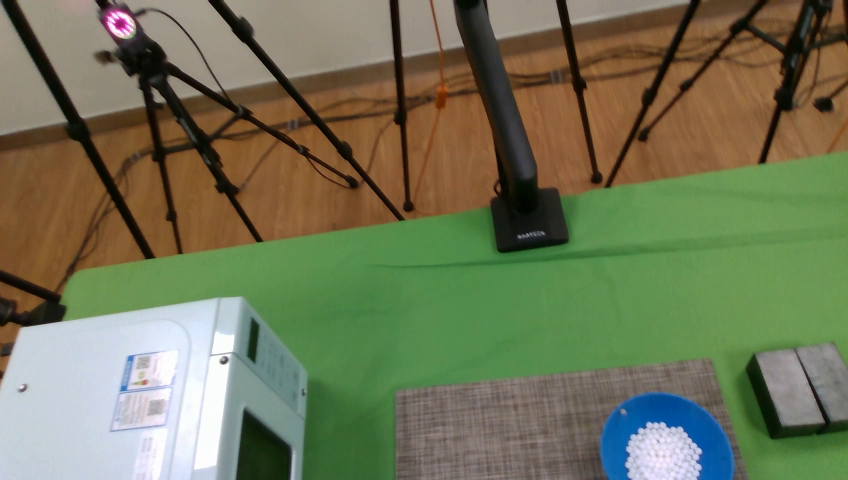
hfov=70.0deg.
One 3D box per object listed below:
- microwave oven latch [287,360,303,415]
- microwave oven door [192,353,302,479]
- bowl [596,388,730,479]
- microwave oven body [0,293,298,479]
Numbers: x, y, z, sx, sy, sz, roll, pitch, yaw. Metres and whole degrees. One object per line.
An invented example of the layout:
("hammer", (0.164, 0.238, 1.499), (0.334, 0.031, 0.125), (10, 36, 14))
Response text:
("microwave oven latch", (-0.195, 0.218, 0.895), (0.030, 0.030, 0.078), (-9, 55, 6))
("microwave oven door", (-0.202, 0.338, 0.687), (0.039, 0.246, 0.352), (-9, 54, 6))
("bowl", (0.287, 0.268, 0.747), (0.151, 0.077, 0.150), (-6, 55, 9))
("microwave oven body", (-0.347, 0.330, 0.731), (0.326, 0.263, 0.437), (-9, 55, 6))
